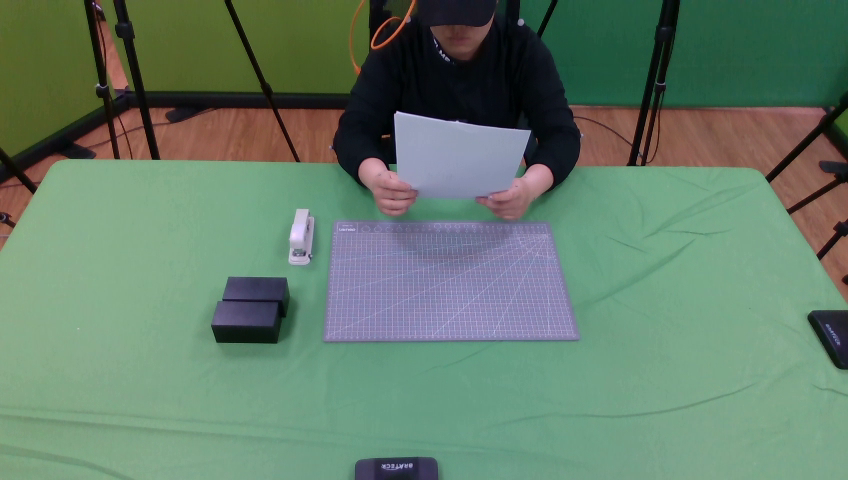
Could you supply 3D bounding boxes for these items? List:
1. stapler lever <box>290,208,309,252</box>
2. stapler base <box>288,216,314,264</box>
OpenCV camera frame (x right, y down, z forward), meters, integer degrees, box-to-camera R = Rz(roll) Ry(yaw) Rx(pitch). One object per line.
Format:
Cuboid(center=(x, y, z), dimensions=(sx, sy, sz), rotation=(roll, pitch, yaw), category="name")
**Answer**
Cuboid(center=(-0.240, -0.026, 1.168), dimensions=(0.027, 0.040, 0.117), rotation=(1, 44, -6), category="stapler lever")
Cuboid(center=(-0.241, -0.007, 1.185), dimensions=(0.041, 0.024, 0.129), rotation=(1, 44, -6), category="stapler base")
